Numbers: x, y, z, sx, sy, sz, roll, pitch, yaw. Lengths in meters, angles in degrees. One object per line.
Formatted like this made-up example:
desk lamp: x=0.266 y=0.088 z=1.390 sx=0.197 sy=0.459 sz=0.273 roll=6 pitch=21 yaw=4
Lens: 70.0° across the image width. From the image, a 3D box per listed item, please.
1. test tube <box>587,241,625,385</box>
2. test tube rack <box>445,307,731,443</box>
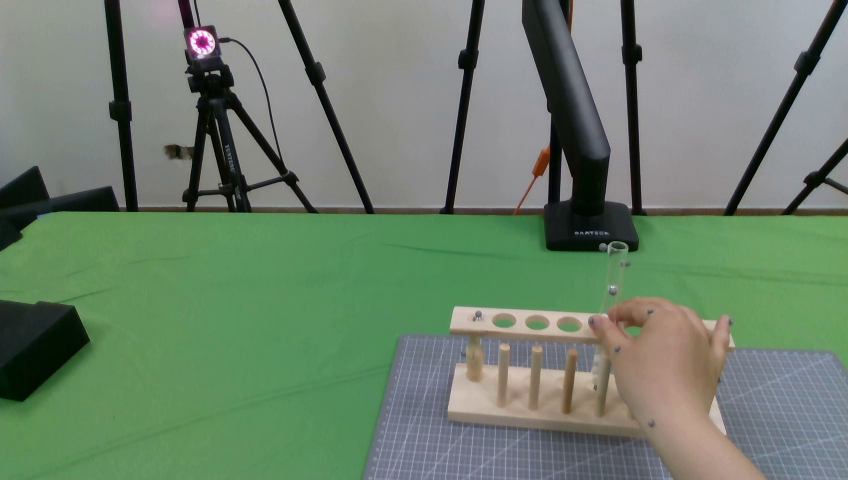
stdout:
test tube: x=0.159 y=0.069 z=0.533 sx=0.017 sy=0.151 sz=0.017 roll=-1 pitch=30 yaw=1
test tube rack: x=0.142 y=0.120 z=0.551 sx=0.242 sy=0.086 sz=0.066 roll=2 pitch=32 yaw=9
